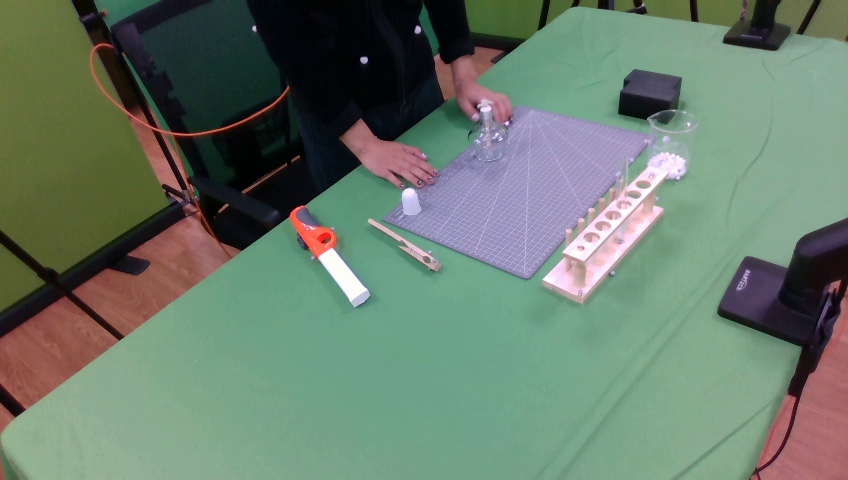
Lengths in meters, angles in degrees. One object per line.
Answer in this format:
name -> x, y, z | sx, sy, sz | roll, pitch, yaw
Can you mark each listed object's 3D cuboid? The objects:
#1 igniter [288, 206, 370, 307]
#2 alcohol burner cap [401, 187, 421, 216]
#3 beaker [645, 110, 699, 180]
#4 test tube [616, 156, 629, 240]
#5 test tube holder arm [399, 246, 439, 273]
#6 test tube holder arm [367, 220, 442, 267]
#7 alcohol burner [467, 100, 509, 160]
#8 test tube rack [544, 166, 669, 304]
igniter -> -0.163, 0.018, 0.986 | 0.057, 0.025, 0.274 | -33, 45, -12
alcohol burner cap -> -0.025, -0.070, 1.048 | 0.034, 0.048, 0.033 | -5, 41, 5
beaker -> 0.417, -0.160, 1.033 | 0.083, 0.101, 0.074 | 25, 51, 35
test tube -> 0.284, -0.057, 0.869 | 0.017, 0.151, 0.017 | -8, 42, 8
test tube holder arm -> -0.009, 0.027, 0.957 | 0.087, 0.015, 0.010 | 34, 91, 40
test tube holder arm -> -0.035, 0.004, 0.985 | 0.177, 0.015, 0.013 | 32, 90, 40
alcohol burner -> 0.118, -0.210, 1.131 | 0.078, 0.119, 0.077 | -5, 42, 5
test tube rack -> 0.274, -0.018, 0.903 | 0.066, 0.085, 0.243 | 26, 51, 35
